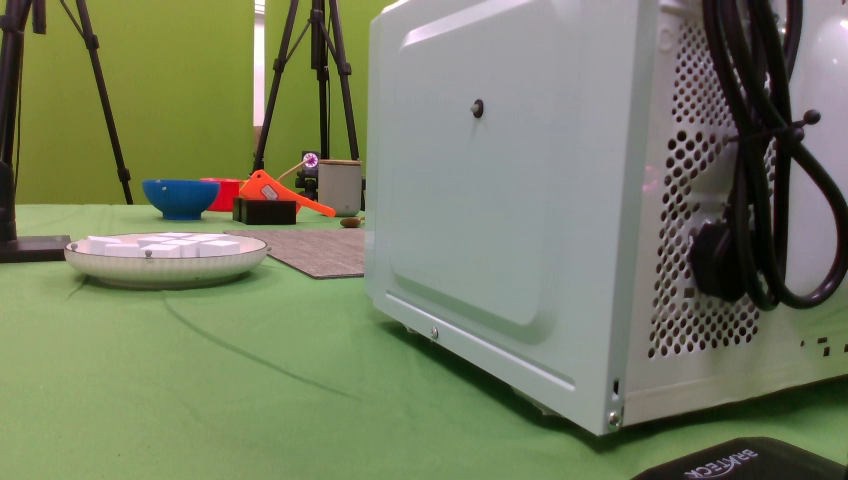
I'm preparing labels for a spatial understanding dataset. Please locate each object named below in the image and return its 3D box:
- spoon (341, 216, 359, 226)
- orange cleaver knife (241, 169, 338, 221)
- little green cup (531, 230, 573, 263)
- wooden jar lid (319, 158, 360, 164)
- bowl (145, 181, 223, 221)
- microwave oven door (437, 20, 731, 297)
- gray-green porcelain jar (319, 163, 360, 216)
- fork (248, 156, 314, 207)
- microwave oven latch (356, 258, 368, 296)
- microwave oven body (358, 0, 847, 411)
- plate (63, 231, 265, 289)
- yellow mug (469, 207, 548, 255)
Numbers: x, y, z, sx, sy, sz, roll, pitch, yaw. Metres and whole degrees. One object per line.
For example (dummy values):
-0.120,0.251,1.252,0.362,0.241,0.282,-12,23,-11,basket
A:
-0.132,-0.047,1.304,0.041,0.021,0.194,-15,3,14,spoon
-0.286,-0.081,1.298,0.212,0.077,0.012,25,-2,-31,orange cleaver knife
0.185,0.009,0.879,0.061,0.038,0.061,3,11,0,little green cup
-0.202,-0.189,1.481,0.108,0.020,0.108,2,10,0,wooden jar lid
-0.498,-0.081,1.261,0.151,0.077,0.151,2,7,0,bowl
0.181,-0.076,0.618,0.358,0.243,0.039,-2,9,-28,microwave oven door
-0.204,-0.126,1.489,0.106,0.126,0.106,2,8,0,gray-green porcelain jar
-0.360,-0.147,1.522,0.207,0.019,0.028,-43,16,-7,fork
-0.019,0.031,0.524,0.079,0.029,0.030,0,7,-18,microwave oven latch
0.210,-0.051,0.471,0.444,0.260,0.324,-1,8,-28,microwave oven body
-0.288,0.021,0.686,0.208,0.039,0.207,2,8,0,plate
0.137,-0.015,0.949,0.131,0.064,0.099,2,6,-20,yellow mug
